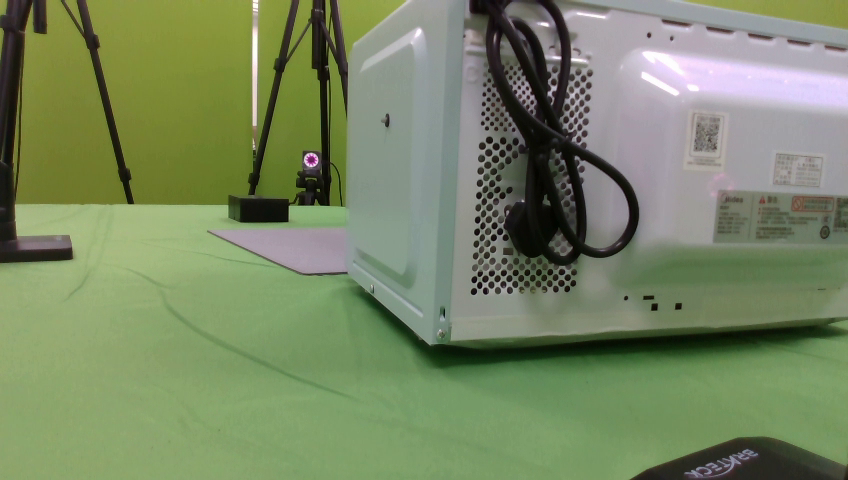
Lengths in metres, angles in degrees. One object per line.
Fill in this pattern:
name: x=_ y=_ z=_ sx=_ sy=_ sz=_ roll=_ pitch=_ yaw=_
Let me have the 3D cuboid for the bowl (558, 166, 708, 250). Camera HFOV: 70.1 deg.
bowl: x=0.215 y=-0.035 z=0.639 sx=0.151 sy=0.077 sz=0.151 roll=2 pitch=11 yaw=0

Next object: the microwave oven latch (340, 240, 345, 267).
microwave oven latch: x=-0.052 y=0.016 z=0.662 sx=0.079 sy=0.029 sz=0.030 roll=1 pitch=7 yaw=-18

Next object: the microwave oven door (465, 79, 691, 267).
microwave oven door: x=0.206 y=-0.105 z=0.902 sx=0.039 sy=0.243 sz=0.354 roll=-5 pitch=10 yaw=-43

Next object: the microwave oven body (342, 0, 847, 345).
microwave oven body: x=0.169 y=-0.060 z=0.573 sx=0.444 sy=0.260 sz=0.324 roll=1 pitch=7 yaw=-20
